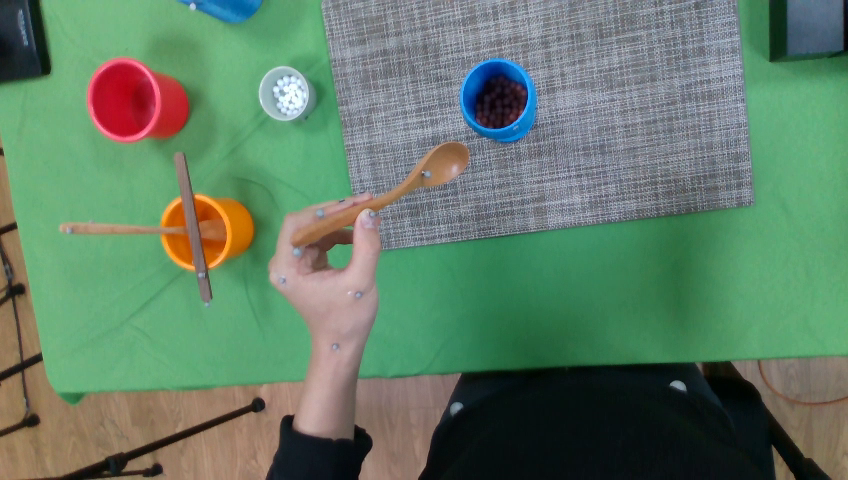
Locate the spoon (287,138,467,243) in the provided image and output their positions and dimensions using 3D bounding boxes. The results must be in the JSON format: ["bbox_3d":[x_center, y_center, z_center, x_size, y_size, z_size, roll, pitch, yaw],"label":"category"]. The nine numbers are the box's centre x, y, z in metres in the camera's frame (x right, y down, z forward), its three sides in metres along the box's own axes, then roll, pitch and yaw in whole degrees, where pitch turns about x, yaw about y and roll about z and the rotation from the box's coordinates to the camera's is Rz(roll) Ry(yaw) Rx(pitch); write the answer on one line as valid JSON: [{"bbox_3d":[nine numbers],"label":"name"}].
[{"bbox_3d":[-0.028,-0.040,0.473,0.021,0.193,0.042,32,132,23],"label":"spoon"}]

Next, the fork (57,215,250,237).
[{"bbox_3d":[-0.311,-0.017,0.714,0.208,0.018,0.028,0,108,-33],"label":"fork"}]

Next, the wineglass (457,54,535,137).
[{"bbox_3d":[0.076,-0.140,0.609,0.073,0.172,0.074,1,97,11],"label":"wineglass"}]

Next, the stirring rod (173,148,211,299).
[{"bbox_3d":[-0.269,-0.018,0.703,0.014,0.006,0.176,-7,96,12],"label":"stirring rod"}]

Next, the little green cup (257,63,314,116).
[{"bbox_3d":[-0.162,-0.177,0.720,0.061,0.038,0.061,2,99,11],"label":"little green cup"}]

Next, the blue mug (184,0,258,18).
[{"bbox_3d":[-0.228,-0.302,0.680,0.116,0.106,0.082,7,99,9],"label":"blue mug"}]
